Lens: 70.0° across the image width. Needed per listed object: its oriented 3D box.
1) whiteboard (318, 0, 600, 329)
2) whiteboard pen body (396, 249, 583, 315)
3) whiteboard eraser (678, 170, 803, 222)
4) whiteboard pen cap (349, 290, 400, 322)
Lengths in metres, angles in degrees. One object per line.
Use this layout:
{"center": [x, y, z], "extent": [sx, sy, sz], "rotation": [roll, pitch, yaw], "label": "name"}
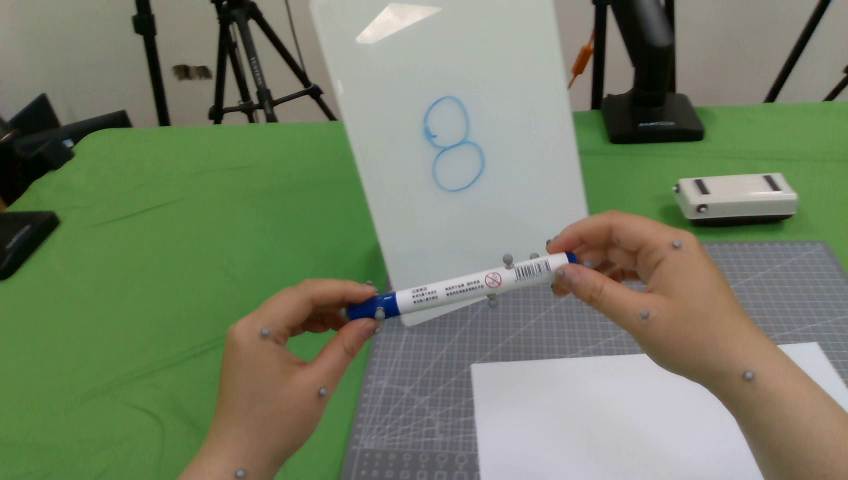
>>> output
{"center": [0.029, -0.105, 0.612], "extent": [0.217, 0.307, 0.142], "rotation": [-18, 20, -13], "label": "whiteboard"}
{"center": [0.028, 0.029, 0.376], "extent": [0.141, 0.017, 0.017], "rotation": [-14, 39, 4], "label": "whiteboard pen body"}
{"center": [0.340, -0.047, 0.655], "extent": [0.112, 0.042, 0.055], "rotation": [-2, 41, 5], "label": "whiteboard eraser"}
{"center": [-0.029, 0.040, 0.379], "extent": [0.033, 0.018, 0.018], "rotation": [-11, 39, -1], "label": "whiteboard pen cap"}
